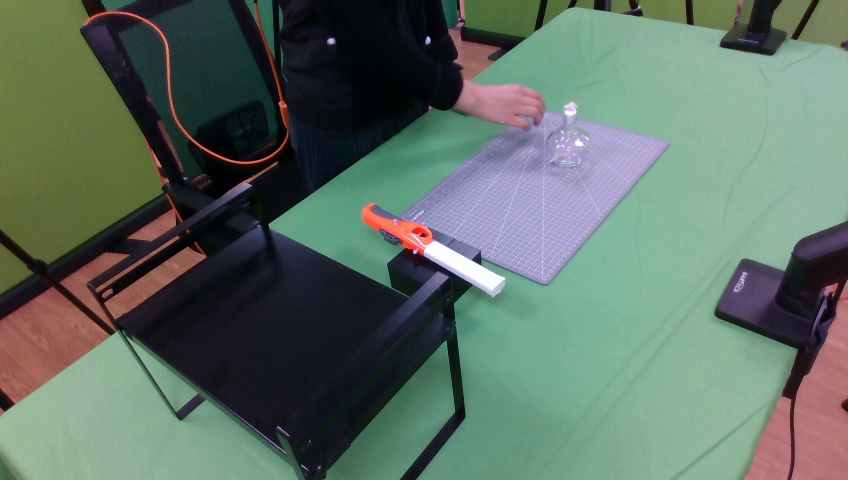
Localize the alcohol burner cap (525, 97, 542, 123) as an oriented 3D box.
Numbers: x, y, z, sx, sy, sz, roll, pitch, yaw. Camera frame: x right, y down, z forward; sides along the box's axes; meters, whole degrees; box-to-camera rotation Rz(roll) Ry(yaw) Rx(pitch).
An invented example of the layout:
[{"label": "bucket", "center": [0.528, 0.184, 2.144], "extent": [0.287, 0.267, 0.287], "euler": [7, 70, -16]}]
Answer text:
[{"label": "alcohol burner cap", "center": [0.210, -0.255, 1.174], "extent": [0.034, 0.048, 0.033], "euler": [-9, 40, 8]}]

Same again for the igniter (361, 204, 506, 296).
[{"label": "igniter", "center": [0.003, 0.008, 0.889], "extent": [0.274, 0.025, 0.057], "euler": [29, 49, 33]}]

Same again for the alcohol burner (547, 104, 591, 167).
[{"label": "alcohol burner", "center": [0.261, -0.192, 1.087], "extent": [0.078, 0.119, 0.077], "euler": [-5, 42, 5]}]
